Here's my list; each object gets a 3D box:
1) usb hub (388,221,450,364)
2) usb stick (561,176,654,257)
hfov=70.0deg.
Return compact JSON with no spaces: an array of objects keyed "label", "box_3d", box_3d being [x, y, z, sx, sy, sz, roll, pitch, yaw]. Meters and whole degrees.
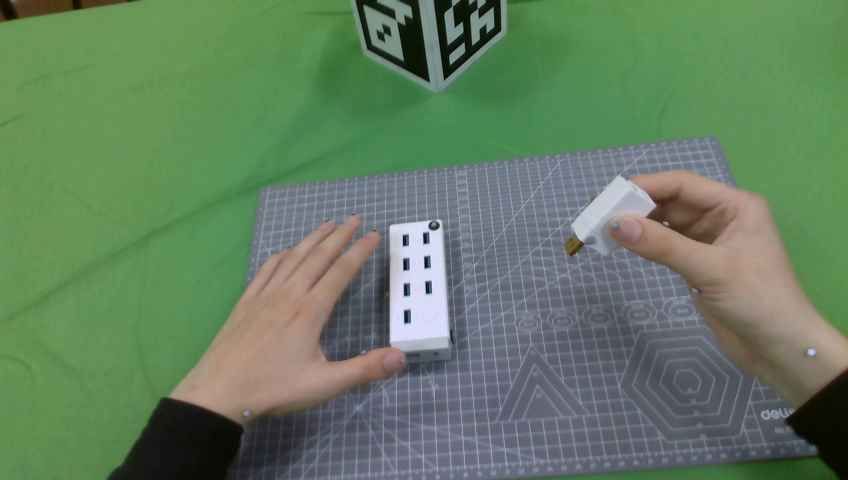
[{"label":"usb hub","box_3d":[-0.005,0.041,0.512,0.049,0.025,0.124,-5,55,4]},{"label":"usb stick","box_3d":[0.113,-0.010,0.384,0.059,0.027,0.021,-47,24,22]}]
